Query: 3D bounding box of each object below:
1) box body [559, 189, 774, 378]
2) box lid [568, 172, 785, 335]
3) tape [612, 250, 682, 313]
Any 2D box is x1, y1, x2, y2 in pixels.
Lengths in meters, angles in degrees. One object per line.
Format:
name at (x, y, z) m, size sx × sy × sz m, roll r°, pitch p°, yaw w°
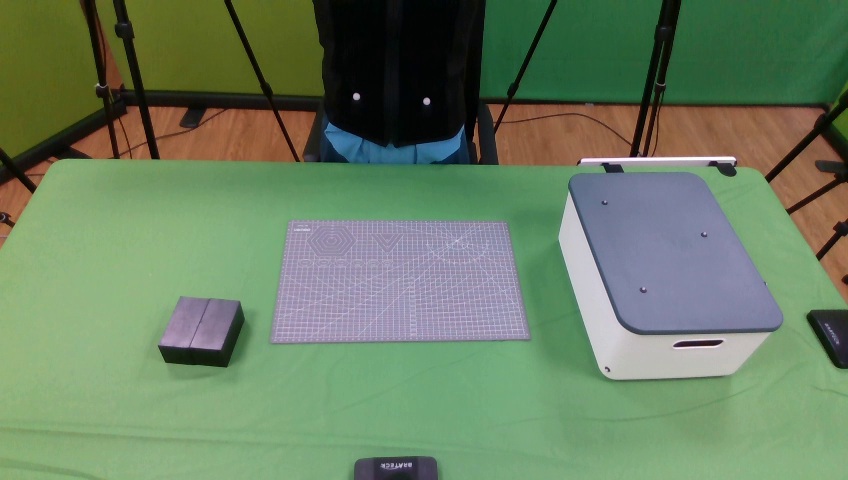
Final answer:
box body at (0.405, 0.057, 1.074) m, size 0.254 × 0.161 × 0.361 m, roll -2°, pitch 46°, yaw -5°
box lid at (0.407, 0.007, 1.019) m, size 0.263 × 0.015 × 0.369 m, roll -1°, pitch 46°, yaw -5°
tape at (0.412, 0.076, 1.123) m, size 0.117 × 0.053 × 0.116 m, roll 4°, pitch 48°, yaw -4°
